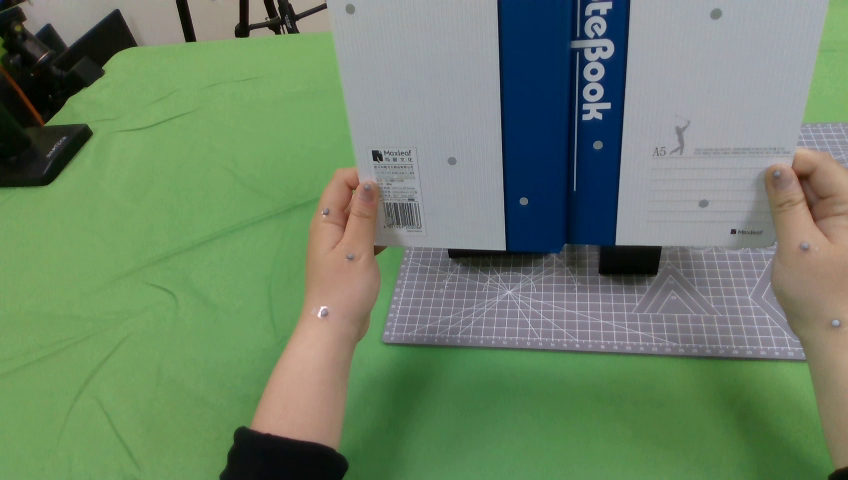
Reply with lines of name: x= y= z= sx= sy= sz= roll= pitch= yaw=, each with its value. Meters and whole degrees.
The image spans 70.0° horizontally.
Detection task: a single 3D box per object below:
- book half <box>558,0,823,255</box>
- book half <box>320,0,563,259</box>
book half: x=0.157 y=-0.082 z=0.380 sx=0.143 sy=0.212 sz=0.007 roll=1 pitch=31 yaw=14
book half: x=0.016 y=-0.081 z=0.407 sx=0.148 sy=0.212 sz=0.016 roll=1 pitch=32 yaw=13
